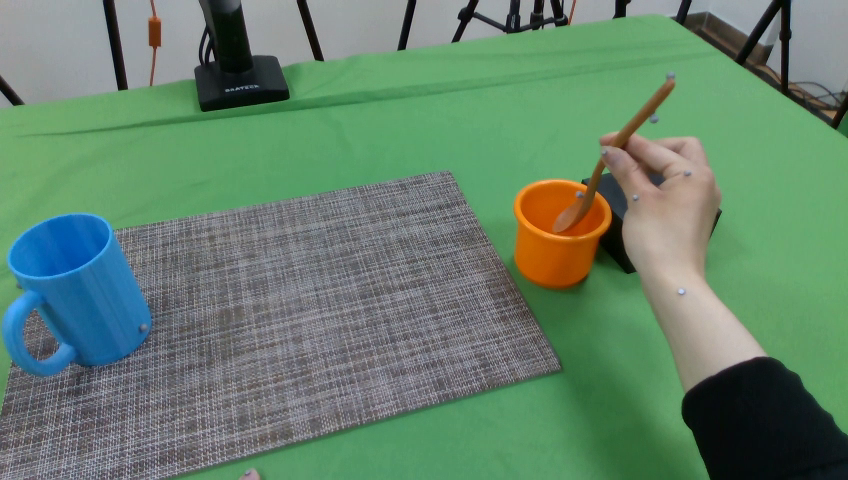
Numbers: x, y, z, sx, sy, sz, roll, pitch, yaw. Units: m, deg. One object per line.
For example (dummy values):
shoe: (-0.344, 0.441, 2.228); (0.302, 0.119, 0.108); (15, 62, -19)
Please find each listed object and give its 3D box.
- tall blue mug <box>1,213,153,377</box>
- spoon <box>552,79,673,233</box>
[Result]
tall blue mug: (-0.280, 0.053, 0.495); (0.078, 0.109, 0.106); (-5, 43, -8)
spoon: (0.153, -0.063, 0.516); (0.021, 0.195, 0.041); (26, 56, 5)
